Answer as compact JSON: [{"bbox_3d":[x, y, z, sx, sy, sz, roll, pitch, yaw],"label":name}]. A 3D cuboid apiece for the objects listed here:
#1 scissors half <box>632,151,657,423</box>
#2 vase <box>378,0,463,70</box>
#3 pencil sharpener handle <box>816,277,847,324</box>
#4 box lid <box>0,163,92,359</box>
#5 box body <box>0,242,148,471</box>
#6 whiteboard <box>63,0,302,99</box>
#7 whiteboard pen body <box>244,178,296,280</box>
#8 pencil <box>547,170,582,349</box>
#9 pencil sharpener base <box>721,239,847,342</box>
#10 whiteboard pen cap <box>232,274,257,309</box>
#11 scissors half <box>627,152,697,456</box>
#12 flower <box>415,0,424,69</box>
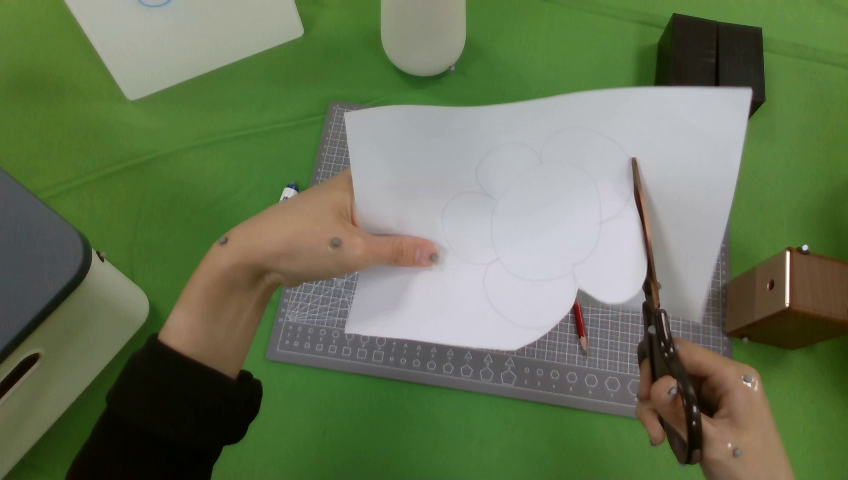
[{"bbox_3d":[0.132,0.032,0.361,0.013,0.040,0.176,-9,112,4],"label":"scissors half"},{"bbox_3d":[-0.005,-0.269,0.629,0.098,0.201,0.097,0,68,0],"label":"vase"},{"bbox_3d":[0.390,0.059,0.552,0.030,0.068,0.035,13,64,1],"label":"pencil sharpener handle"},{"bbox_3d":[-0.469,0.000,0.460,0.370,0.015,0.262,34,72,11],"label":"box lid"},{"bbox_3d":[-0.468,0.028,0.529,0.362,0.161,0.253,34,73,11],"label":"box body"},{"bbox_3d":[-0.290,-0.345,0.627,0.217,0.308,0.142,-24,52,-9],"label":"whiteboard"},{"bbox_3d":[-0.162,-0.002,0.622,0.017,0.017,0.140,15,68,5],"label":"whiteboard pen body"},{"bbox_3d":[0.146,0.016,0.625,0.012,0.012,0.192,-5,72,-2],"label":"pencil"},{"bbox_3d":[0.340,0.051,0.564,0.077,0.107,0.061,13,69,1],"label":"pencil sharpener base"},{"bbox_3d":[-0.176,0.050,0.601,0.018,0.018,0.033,14,66,5],"label":"whiteboard pen cap"},{"bbox_3d":[0.131,0.036,0.340,0.013,0.040,0.175,-10,90,-1],"label":"scissors half"},{"bbox_3d":[-0.009,-0.312,0.556,0.044,0.365,0.038,2,52,3],"label":"flower"}]
